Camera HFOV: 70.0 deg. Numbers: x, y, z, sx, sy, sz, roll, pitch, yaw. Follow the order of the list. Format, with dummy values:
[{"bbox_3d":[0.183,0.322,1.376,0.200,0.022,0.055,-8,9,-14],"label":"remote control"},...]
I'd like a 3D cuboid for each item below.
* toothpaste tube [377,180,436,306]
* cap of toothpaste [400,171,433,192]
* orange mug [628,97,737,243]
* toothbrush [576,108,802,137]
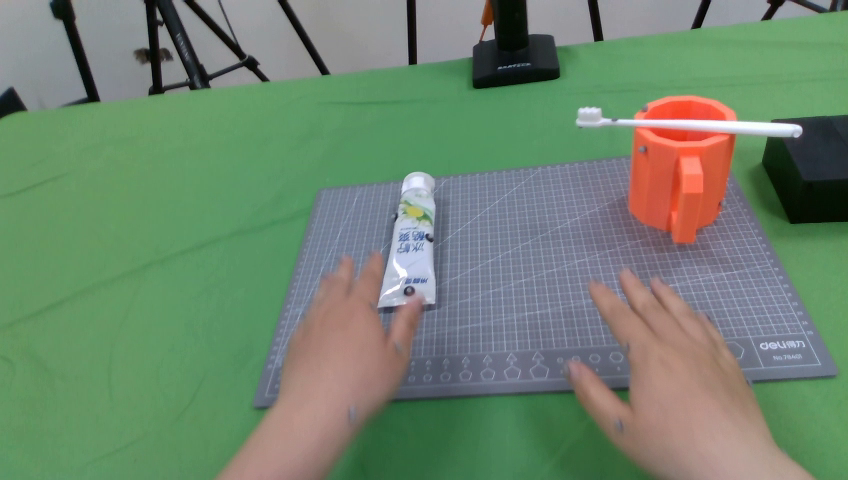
[{"bbox_3d":[-0.014,-0.002,0.603,0.055,0.035,0.163,-8,46,11],"label":"toothpaste tube"},{"bbox_3d":[-0.008,-0.059,0.655,0.037,0.038,0.011,-2,49,10],"label":"cap of toothpaste"},{"bbox_3d":[0.236,-0.060,0.556,0.083,0.102,0.125,1,39,14],"label":"orange mug"},{"bbox_3d":[0.224,-0.102,0.525,0.181,0.017,0.014,8,37,22],"label":"toothbrush"}]
